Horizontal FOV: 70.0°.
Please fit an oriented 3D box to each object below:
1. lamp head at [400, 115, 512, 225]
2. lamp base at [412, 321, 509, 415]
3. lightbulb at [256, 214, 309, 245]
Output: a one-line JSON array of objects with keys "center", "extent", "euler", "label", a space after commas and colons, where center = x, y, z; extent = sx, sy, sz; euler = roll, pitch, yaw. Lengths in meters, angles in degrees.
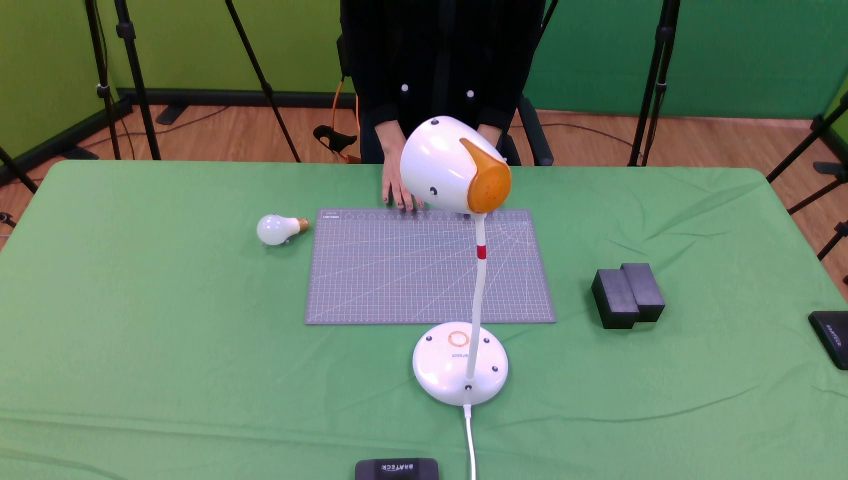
[{"center": [0.047, -0.077, 0.729], "extent": [0.112, 0.113, 0.122], "euler": [-25, 43, -25], "label": "lamp head"}, {"center": [0.067, 0.158, 0.943], "extent": [0.161, 0.181, 0.178], "euler": [-6, 50, -10], "label": "lamp base"}, {"center": [-0.274, -0.025, 1.184], "extent": [0.108, 0.060, 0.059], "euler": [-14, 46, -38], "label": "lightbulb"}]
